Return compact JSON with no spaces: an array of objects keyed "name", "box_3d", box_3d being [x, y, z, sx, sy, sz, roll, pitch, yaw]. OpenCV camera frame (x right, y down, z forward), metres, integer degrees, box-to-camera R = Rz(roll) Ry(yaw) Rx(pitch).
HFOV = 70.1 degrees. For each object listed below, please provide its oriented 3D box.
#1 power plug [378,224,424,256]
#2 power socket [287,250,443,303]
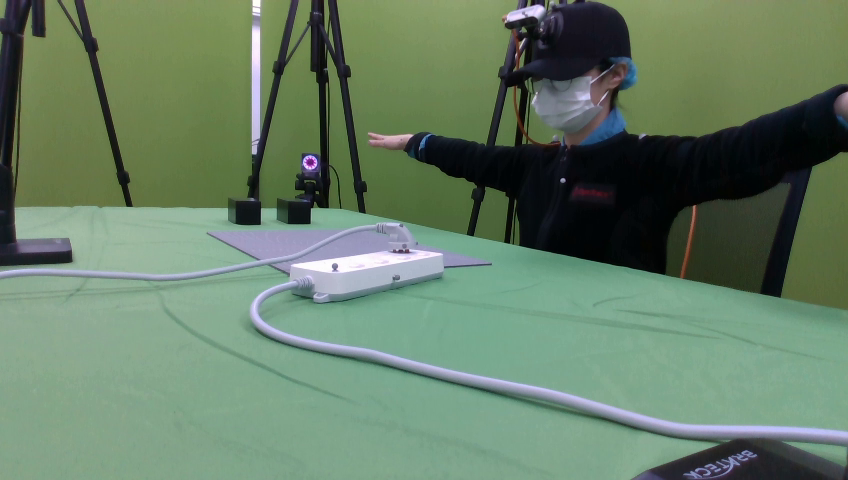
[{"name":"power plug","box_3d":[-0.025,0.009,0.729,0.053,0.035,0.072,5,27,-23]},{"name":"power socket","box_3d":[-0.059,0.035,0.688,0.072,0.032,0.228,6,8,34]}]
